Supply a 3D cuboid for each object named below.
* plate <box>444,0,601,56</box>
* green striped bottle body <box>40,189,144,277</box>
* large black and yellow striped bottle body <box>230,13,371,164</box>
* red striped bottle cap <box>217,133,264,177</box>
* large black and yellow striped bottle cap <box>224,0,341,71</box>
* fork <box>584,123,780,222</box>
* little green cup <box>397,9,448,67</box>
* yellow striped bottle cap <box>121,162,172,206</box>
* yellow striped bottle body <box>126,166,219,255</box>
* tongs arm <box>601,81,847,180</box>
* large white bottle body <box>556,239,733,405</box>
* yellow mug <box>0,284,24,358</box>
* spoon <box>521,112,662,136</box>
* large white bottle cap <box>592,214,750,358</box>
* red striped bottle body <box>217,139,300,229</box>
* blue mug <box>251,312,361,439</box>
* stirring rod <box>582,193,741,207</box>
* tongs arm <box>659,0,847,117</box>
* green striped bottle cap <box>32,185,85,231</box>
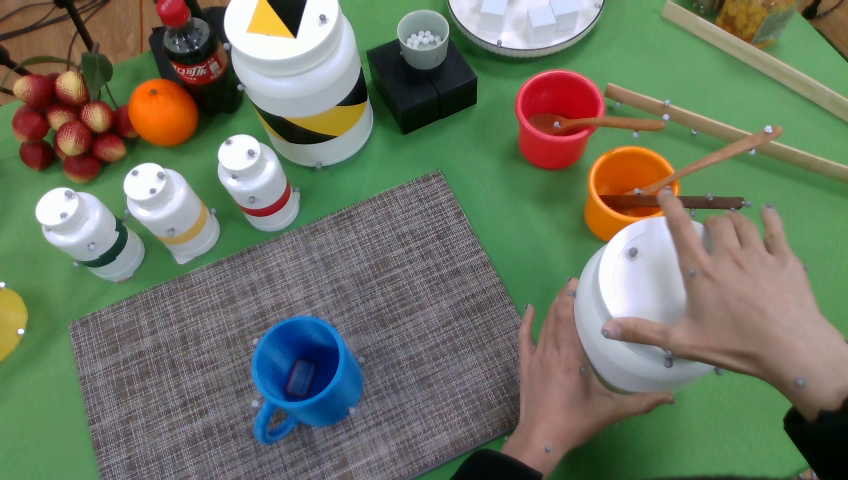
[{"bbox_3d":[0.129,-0.324,0.807,0.209,0.038,0.207,-1,66,2],"label":"plate"},{"bbox_3d":[-0.356,-0.010,0.646,0.063,0.120,0.062,-1,65,2],"label":"green striped bottle body"},{"bbox_3d":[-0.136,-0.184,0.678,0.131,0.185,0.129,-1,65,3],"label":"large black and yellow striped bottle body"},{"bbox_3d":[-0.186,-0.087,0.614,0.044,0.018,0.044,0,63,0],"label":"red striped bottle cap"},{"bbox_3d":[-0.140,-0.219,0.599,0.115,0.019,0.114,-2,68,5],"label":"large black and yellow striped bottle cap"},{"bbox_3d":[0.257,-0.067,0.623,0.207,0.019,0.028,-30,55,39],"label":"fork"},{"bbox_3d":[-0.001,-0.238,0.719,0.061,0.039,0.061,-1,62,1],"label":"little green cup"},{"bbox_3d":[-0.277,-0.056,0.605,0.044,0.019,0.044,0,61,0],"label":"yellow striped bottle cap"},{"bbox_3d":[-0.273,-0.036,0.653,0.063,0.121,0.062,-1,65,4],"label":"yellow striped bottle body"},{"bbox_3d":[0.397,-0.125,0.704,0.383,0.027,0.050,25,66,13],"label":"tongs arm"},{"bbox_3d":[0.195,0.069,0.545,0.130,0.186,0.129,-1,65,3],"label":"large white bottle body"},{"bbox_3d":[-0.489,0.096,0.635,0.100,0.064,0.129,-15,66,-4],"label":"yellow mug"},{"bbox_3d":[0.174,-0.128,0.659,0.041,0.192,0.022,-41,115,-18],"label":"spoon"},{"bbox_3d":[0.189,0.034,0.467,0.115,0.018,0.114,-1,65,3],"label":"large white bottle cap"},{"bbox_3d":[-0.182,-0.064,0.661,0.063,0.120,0.062,-2,65,5],"label":"red striped bottle body"},{"bbox_3d":[-0.117,0.137,0.572,0.082,0.106,0.116,30,71,16],"label":"blue mug"},{"bbox_3d":[0.235,-0.042,0.619,0.175,0.006,0.014,7,52,53],"label":"stirring rod"},{"bbox_3d":[0.448,-0.193,0.735,0.385,0.028,0.028,41,67,18],"label":"tongs arm"},{"bbox_3d":[-0.361,-0.031,0.599,0.044,0.020,0.044,0,65,1],"label":"green striped bottle cap"}]
